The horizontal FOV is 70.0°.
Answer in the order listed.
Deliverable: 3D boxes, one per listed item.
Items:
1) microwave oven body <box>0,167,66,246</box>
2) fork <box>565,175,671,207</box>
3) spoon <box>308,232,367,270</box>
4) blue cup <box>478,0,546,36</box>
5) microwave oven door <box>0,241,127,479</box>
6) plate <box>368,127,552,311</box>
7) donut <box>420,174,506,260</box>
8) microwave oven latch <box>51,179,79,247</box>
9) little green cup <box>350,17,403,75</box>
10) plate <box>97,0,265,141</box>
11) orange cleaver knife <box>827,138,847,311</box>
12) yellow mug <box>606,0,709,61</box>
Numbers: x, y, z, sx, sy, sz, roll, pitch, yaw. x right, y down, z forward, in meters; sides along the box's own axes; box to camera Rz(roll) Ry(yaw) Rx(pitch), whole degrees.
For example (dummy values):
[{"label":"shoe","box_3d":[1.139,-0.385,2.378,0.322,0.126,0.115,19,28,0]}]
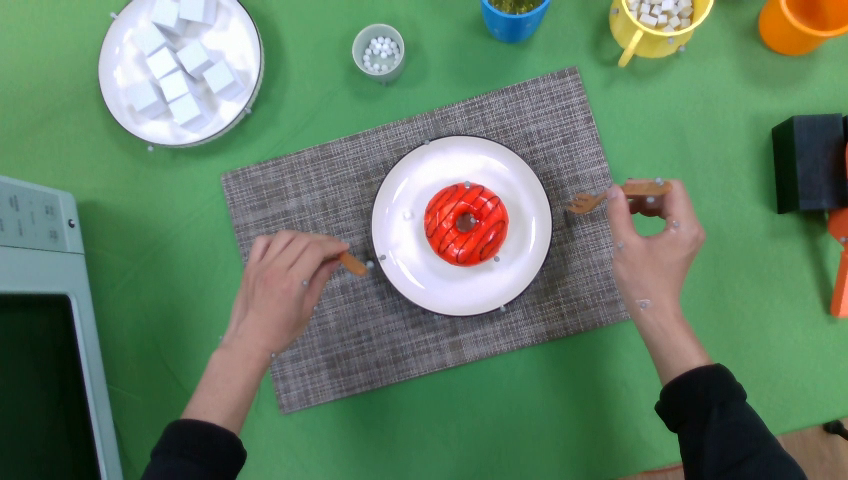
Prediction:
[{"label":"microwave oven body","box_3d":[-0.553,0.167,0.629,0.326,0.260,0.440,-13,86,4]},{"label":"fork","box_3d":[0.185,-0.050,0.600,0.018,0.207,0.028,43,85,-4]},{"label":"spoon","box_3d":[-0.091,0.011,0.634,0.041,0.192,0.022,-25,102,-15]},{"label":"blue cup","box_3d":[0.098,-0.276,0.677,0.092,0.100,0.092,0,88,5]},{"label":"microwave oven door","box_3d":[-0.403,0.175,0.609,0.039,0.244,0.355,-14,85,5]},{"label":"plate","box_3d":[0.041,-0.024,0.695,0.209,0.038,0.208,0,87,6]},{"label":"donut","box_3d":[0.044,-0.026,0.684,0.099,0.048,0.099,0,87,7]},{"label":"microwave oven latch","box_3d":[-0.439,-0.031,0.727,0.030,0.029,0.079,-11,86,4]},{"label":"little green cup","box_3d":[-0.053,-0.227,0.720,0.061,0.039,0.061,0,86,6]},{"label":"plate","box_3d":[-0.293,-0.221,0.743,0.207,0.039,0.207,0,86,6]},{"label":"orange cleaver knife","box_3d":[0.446,-0.026,0.638,0.012,0.076,0.213,-1,116,8]},{"label":"yellow mug","box_3d":[0.253,-0.258,0.679,0.100,0.064,0.131,32,91,7]}]
